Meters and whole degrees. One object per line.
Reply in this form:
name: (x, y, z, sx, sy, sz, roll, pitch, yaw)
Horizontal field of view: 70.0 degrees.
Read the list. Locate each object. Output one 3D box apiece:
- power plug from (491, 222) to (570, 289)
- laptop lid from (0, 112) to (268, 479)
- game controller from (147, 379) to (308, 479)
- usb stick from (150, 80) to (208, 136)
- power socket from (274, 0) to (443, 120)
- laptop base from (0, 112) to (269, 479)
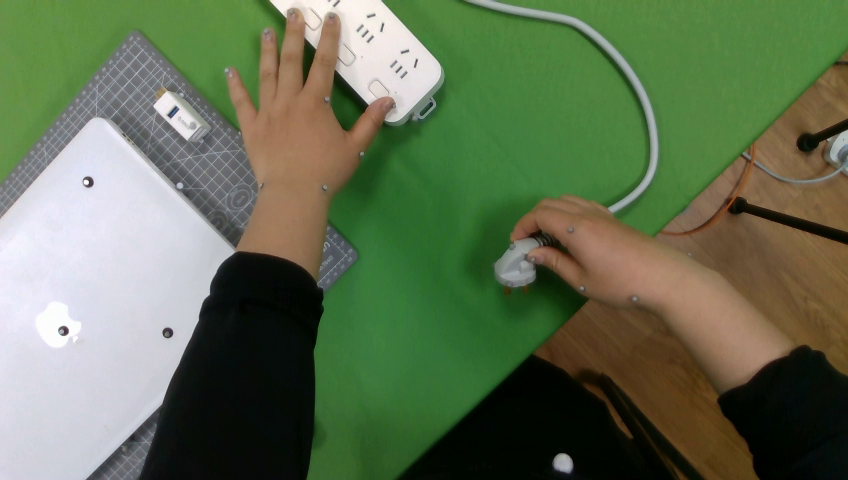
power plug: (0.093, 0.018, 0.520, 0.072, 0.035, 0.053, -9, 132, -4)
laptop lid: (-0.348, 0.081, 0.585, 0.357, 0.013, 0.242, -42, 94, 8)
game controller: (-0.197, 0.208, 0.587, 0.155, 0.051, 0.097, -44, 87, 8)
usb stick: (-0.230, -0.124, 0.557, 0.021, 0.027, 0.059, -44, 89, 10)
power socket: (-0.076, -0.203, 0.535, 0.072, 0.032, 0.227, -43, 92, 10)
laptop base: (-0.348, 0.078, 0.597, 0.354, 0.023, 0.236, -44, 95, 8)
